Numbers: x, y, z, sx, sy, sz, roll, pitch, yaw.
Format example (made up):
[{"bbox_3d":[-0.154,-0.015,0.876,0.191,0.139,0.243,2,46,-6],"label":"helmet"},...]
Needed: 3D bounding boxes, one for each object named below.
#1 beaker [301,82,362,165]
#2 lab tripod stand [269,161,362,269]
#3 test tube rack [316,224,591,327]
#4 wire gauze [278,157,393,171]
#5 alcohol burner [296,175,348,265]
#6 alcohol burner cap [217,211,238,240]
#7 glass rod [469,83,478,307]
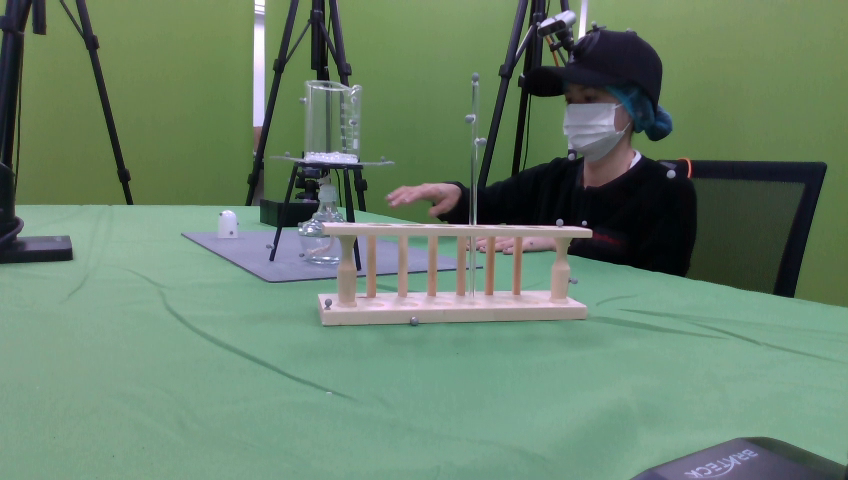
[{"bbox_3d":[-0.117,-0.147,0.776,0.074,0.100,0.083,-3,10,-38],"label":"beaker"},{"bbox_3d":[-0.125,-0.036,0.794,0.148,0.131,0.148,5,7,0],"label":"lab tripod stand"},{"bbox_3d":[0.026,0.028,0.555,0.243,0.085,0.066,1,7,-14],"label":"test tube rack"},{"bbox_3d":[-0.122,-0.100,0.786,0.122,0.011,0.124,-5,14,-38],"label":"wire gauze"},{"bbox_3d":[-0.129,-0.026,0.798,0.078,0.119,0.078,2,9,0],"label":"alcohol burner"},{"bbox_3d":[-0.323,-0.024,0.994,0.034,0.048,0.034,3,8,0],"label":"alcohol burner cap"},{"bbox_3d":[0.043,-0.033,0.523,0.008,0.199,0.008,-1,14,1],"label":"glass rod"}]
